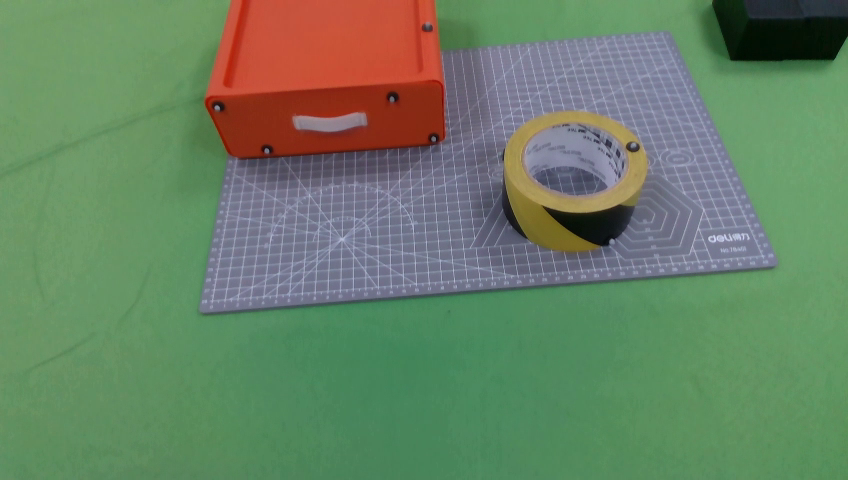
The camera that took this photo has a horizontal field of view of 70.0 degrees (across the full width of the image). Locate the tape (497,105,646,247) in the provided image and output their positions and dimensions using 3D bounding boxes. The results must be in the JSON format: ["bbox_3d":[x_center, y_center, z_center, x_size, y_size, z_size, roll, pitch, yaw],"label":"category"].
[{"bbox_3d":[0.119,-0.052,0.493,0.117,0.053,0.115,-2,55,3],"label":"tape"}]

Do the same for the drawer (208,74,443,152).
[{"bbox_3d":[-0.086,-0.187,0.583,0.194,0.074,0.209,-5,54,1],"label":"drawer"}]

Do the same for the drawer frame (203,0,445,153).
[{"bbox_3d":[-0.087,-0.189,0.584,0.202,0.083,0.211,-5,54,1],"label":"drawer frame"}]
